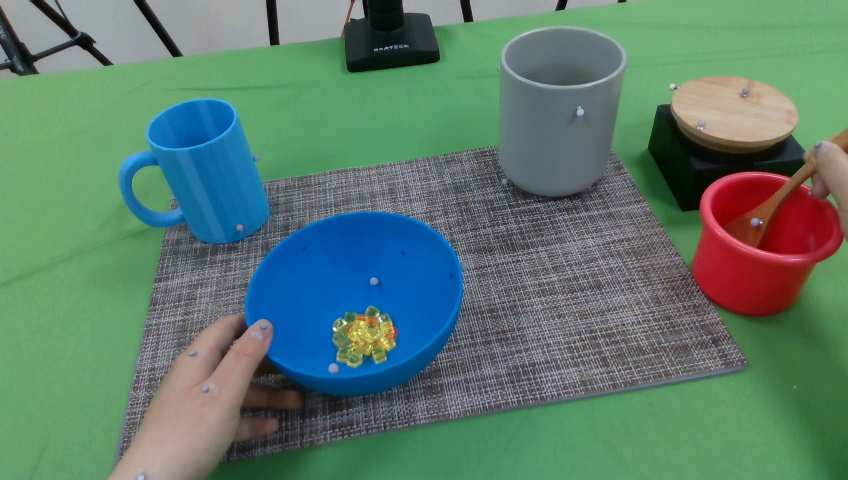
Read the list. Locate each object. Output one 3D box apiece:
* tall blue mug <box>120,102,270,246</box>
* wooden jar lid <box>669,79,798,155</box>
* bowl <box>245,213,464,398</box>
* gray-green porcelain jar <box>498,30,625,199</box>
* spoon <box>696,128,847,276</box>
[{"bbox_3d":[-0.201,-0.049,0.540,0.077,0.109,0.107,27,53,27],"label":"tall blue mug"},{"bbox_3d":[0.281,-0.113,0.556,0.108,0.021,0.107,-3,45,4],"label":"wooden jar lid"},{"bbox_3d":[-0.045,0.059,0.441,0.151,0.077,0.150,-3,45,3],"label":"bowl"},{"bbox_3d":[0.121,-0.110,0.559,0.106,0.128,0.105,-3,45,3],"label":"gray-green porcelain jar"},{"bbox_3d":[0.274,-0.040,0.442,0.022,0.194,0.041,16,41,-19],"label":"spoon"}]
